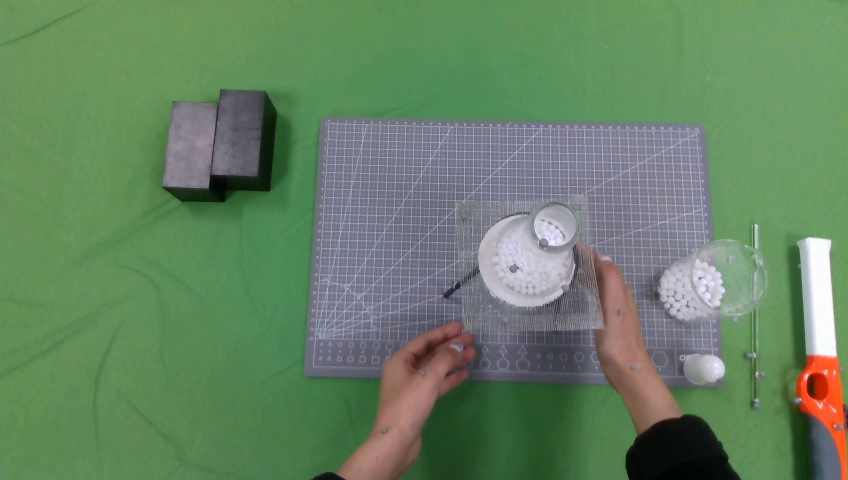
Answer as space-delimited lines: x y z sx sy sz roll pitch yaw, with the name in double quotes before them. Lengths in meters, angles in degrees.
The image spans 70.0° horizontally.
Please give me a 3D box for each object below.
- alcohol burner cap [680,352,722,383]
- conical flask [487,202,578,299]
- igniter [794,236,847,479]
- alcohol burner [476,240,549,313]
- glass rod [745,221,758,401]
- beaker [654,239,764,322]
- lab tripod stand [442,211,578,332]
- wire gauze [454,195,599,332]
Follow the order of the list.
"alcohol burner cap" 0.293 0.132 0.633 0.034 0.048 0.033 0 77 1
"conical flask" 0.092 0.003 0.486 0.075 0.122 0.075 0 77 1
"igniter" 0.419 0.132 0.643 0.057 0.025 0.275 6 78 -8
"alcohol burner" 0.092 0.034 0.618 0.078 0.119 0.077 0 75 2
"glass rod" 0.361 0.074 0.666 0.008 0.008 0.199 5 77 1
"beaker" 0.289 0.044 0.623 0.084 0.100 0.073 -35 80 -8
"lab tripod stand" 0.091 0.033 0.608 0.148 0.132 0.147 0 79 1
"wire gauze" 0.091 0.021 0.543 0.125 0.011 0.121 -2 80 -3
